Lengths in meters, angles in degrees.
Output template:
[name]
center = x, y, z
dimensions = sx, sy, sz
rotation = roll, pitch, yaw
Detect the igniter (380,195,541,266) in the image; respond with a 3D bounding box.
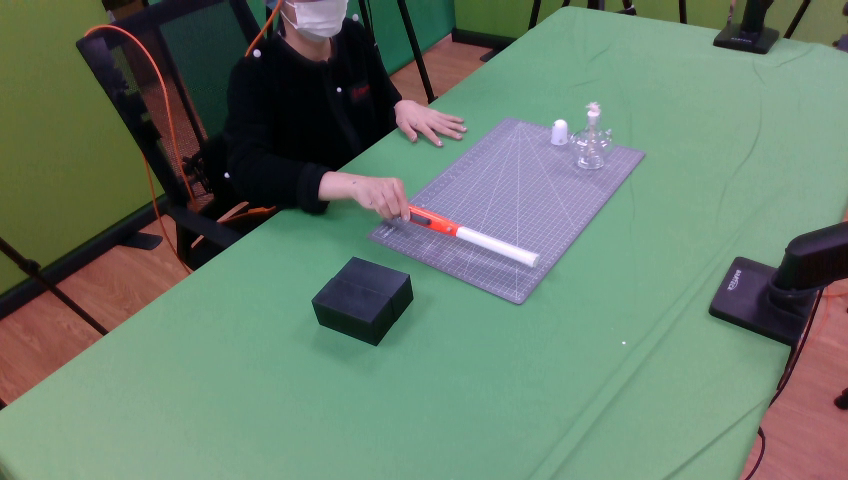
[igniter]
center = 0.048, -0.018, 0.930
dimensions = 0.275, 0.025, 0.057
rotation = 22, 13, 22

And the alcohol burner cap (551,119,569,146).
[alcohol burner cap]
center = 0.261, -0.207, 1.156
dimensions = 0.034, 0.048, 0.033
rotation = -5, 41, 5

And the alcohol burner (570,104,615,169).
[alcohol burner]
center = 0.299, -0.186, 1.071
dimensions = 0.078, 0.119, 0.077
rotation = -6, 41, 6
